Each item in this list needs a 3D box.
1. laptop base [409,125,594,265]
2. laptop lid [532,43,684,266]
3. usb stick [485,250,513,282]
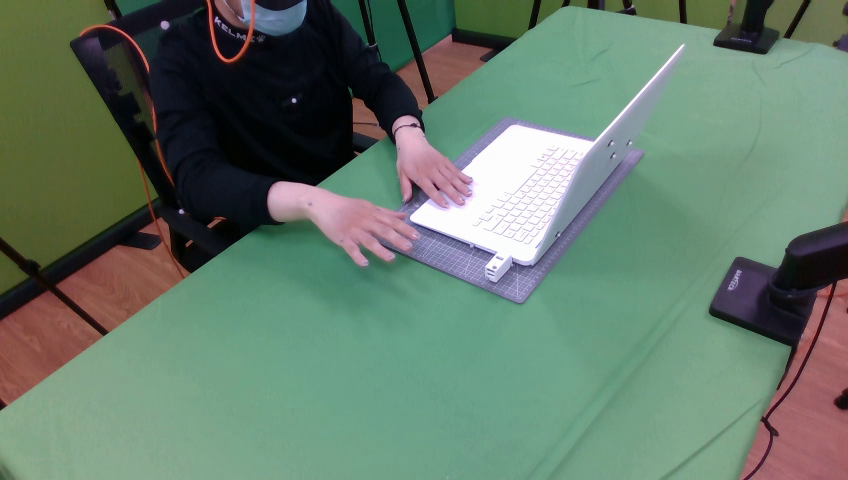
[{"bbox_3d":[0.168,-0.094,1.056,0.233,0.023,0.355,19,47,32],"label":"laptop base"},{"bbox_3d":[0.280,-0.130,0.907,0.013,0.242,0.357,34,52,17],"label":"laptop lid"},{"bbox_3d":[0.116,0.034,0.895,0.021,0.027,0.059,22,46,32],"label":"usb stick"}]
